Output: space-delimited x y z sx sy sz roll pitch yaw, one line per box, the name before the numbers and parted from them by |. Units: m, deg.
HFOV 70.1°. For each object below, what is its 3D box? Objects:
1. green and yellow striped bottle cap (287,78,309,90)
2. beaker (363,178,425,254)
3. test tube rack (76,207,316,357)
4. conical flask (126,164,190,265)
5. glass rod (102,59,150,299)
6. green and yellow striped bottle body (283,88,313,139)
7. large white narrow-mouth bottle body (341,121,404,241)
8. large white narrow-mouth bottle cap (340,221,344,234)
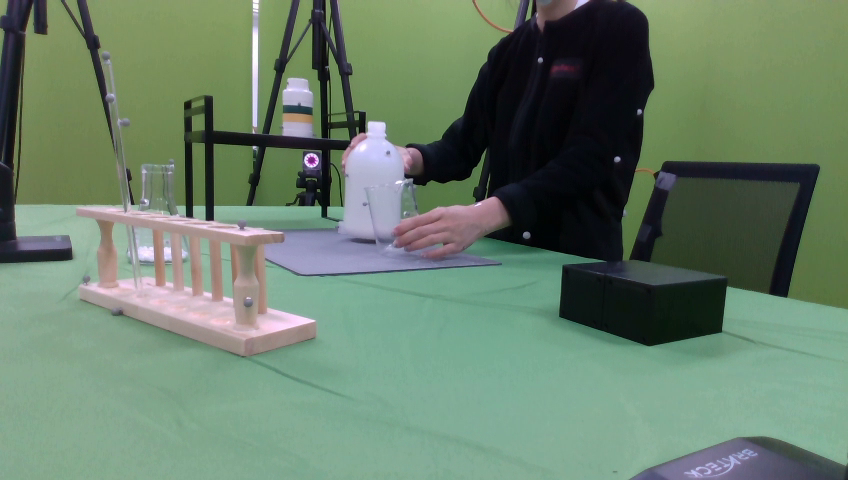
green and yellow striped bottle cap | -0.265 -0.326 1.268 0.045 0.020 0.045 4 6 0
beaker | -0.040 -0.034 0.874 0.074 0.100 0.083 -14 8 -17
test tube rack | -0.196 0.023 0.500 0.241 0.085 0.067 8 9 36
conical flask | -0.332 -0.033 0.756 0.075 0.122 0.075 2 7 0
glass rod | -0.243 -0.045 0.496 0.008 0.199 0.008 -4 13 1
green and yellow striped bottle body | -0.266 -0.275 1.275 0.063 0.119 0.063 3 7 0
large white narrow-mouth bottle body | -0.083 -0.101 1.013 0.102 0.194 0.101 5 12 -1
large white narrow-mouth bottle cap | -0.139 -0.023 1.127 0.038 0.024 0.037 4 8 0
